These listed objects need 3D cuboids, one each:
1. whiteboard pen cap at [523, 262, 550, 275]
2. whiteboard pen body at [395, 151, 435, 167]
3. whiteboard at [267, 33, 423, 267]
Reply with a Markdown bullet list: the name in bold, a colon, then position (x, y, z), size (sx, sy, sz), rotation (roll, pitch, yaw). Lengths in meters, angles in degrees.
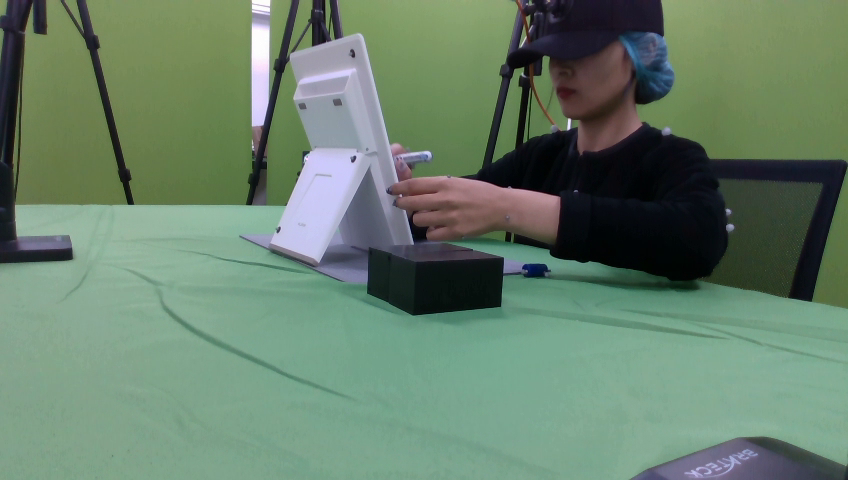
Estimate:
- **whiteboard pen cap**: position (0.145, 0.037, 0.776), size (0.033, 0.018, 0.018), rotation (1, 6, -29)
- **whiteboard pen body**: position (-0.027, -0.114, 0.867), size (0.017, 0.017, 0.141), rotation (6, 15, 33)
- **whiteboard**: position (-0.153, -0.098, 0.818), size (0.144, 0.305, 0.216), rotation (-25, 21, -29)
